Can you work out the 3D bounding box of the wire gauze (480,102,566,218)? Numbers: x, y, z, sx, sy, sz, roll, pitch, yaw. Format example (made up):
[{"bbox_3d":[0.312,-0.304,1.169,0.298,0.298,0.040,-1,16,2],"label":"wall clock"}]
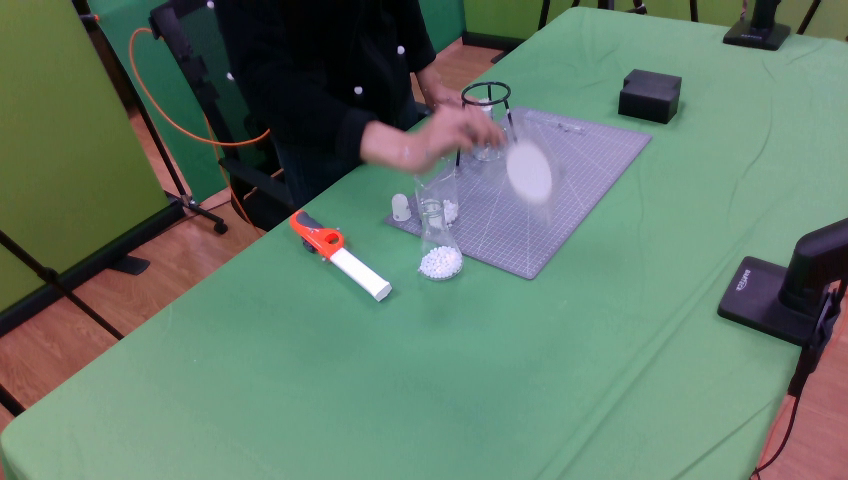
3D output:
[{"bbox_3d":[0.140,-0.107,0.811,0.011,0.122,0.125,-26,31,50],"label":"wire gauze"}]

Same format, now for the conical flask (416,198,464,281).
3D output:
[{"bbox_3d":[0.019,-0.004,0.907,0.075,0.122,0.075,-5,40,5],"label":"conical flask"}]

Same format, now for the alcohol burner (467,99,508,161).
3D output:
[{"bbox_3d":[0.119,-0.210,1.134,0.078,0.119,0.077,-4,39,4],"label":"alcohol burner"}]

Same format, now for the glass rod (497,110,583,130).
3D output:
[{"bbox_3d":[0.233,-0.245,1.235,0.198,0.008,0.008,21,49,34],"label":"glass rod"}]

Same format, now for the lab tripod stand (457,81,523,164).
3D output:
[{"bbox_3d":[0.120,-0.219,1.130,0.148,0.132,0.147,-7,39,6],"label":"lab tripod stand"}]

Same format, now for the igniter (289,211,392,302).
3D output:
[{"bbox_3d":[-0.145,0.019,0.986,0.057,0.025,0.274,-40,48,-18],"label":"igniter"}]

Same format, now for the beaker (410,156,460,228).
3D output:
[{"bbox_3d":[0.020,-0.076,1.006,0.074,0.101,0.084,3,42,16],"label":"beaker"}]

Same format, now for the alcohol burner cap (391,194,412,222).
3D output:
[{"bbox_3d":[-0.041,-0.057,1.040,0.034,0.048,0.033,-6,40,5],"label":"alcohol burner cap"}]
